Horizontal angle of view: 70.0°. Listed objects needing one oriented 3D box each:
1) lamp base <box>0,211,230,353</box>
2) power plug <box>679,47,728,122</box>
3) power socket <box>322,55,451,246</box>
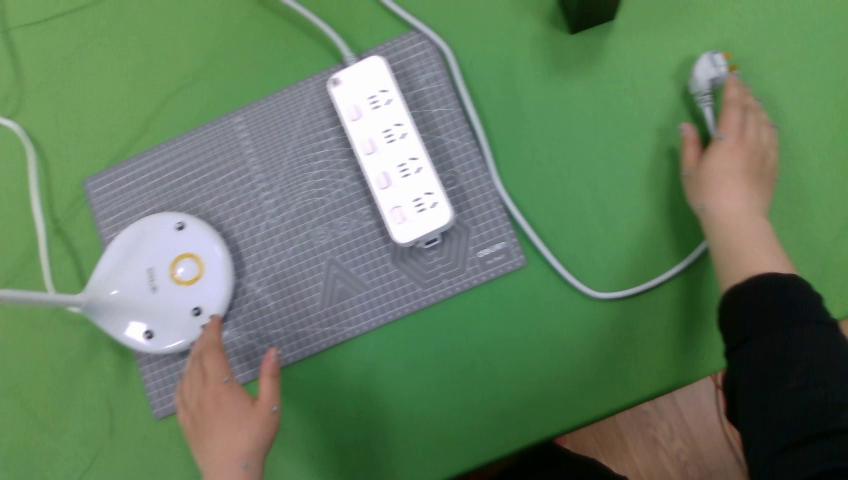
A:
[{"bbox_3d":[-0.318,0.044,0.610,0.179,0.181,0.160,-29,80,6],"label":"lamp base"},{"bbox_3d":[0.295,-0.165,0.633,0.053,0.035,0.073,-21,102,-6],"label":"power plug"},{"bbox_3d":[-0.042,-0.099,0.663,0.072,0.033,0.226,-25,81,3],"label":"power socket"}]
